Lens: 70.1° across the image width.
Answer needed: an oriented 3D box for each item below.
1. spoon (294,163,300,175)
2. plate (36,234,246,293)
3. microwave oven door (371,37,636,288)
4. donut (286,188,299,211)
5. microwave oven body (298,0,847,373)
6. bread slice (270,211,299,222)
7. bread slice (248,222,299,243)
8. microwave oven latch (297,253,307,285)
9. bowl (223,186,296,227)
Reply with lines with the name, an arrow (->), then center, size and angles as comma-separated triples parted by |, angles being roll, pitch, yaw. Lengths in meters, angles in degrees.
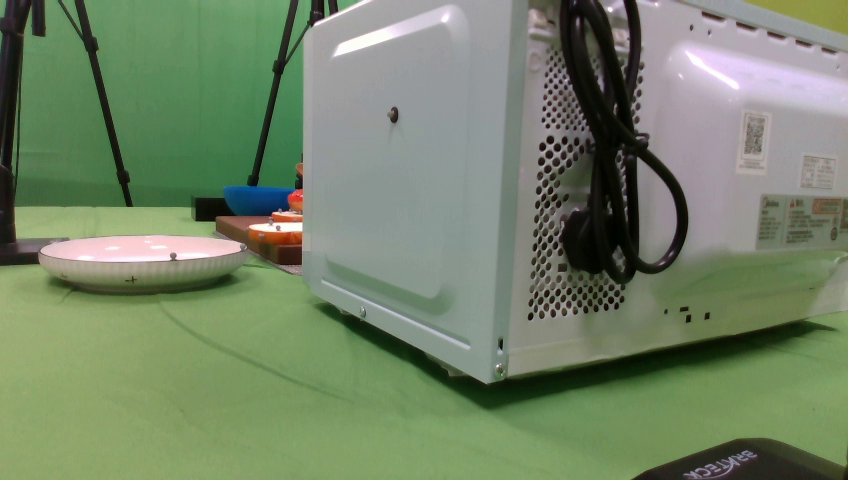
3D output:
spoon -> -0.174, -0.151, 1.157 | 0.041, 0.021, 0.194 | 42, 41, 15
plate -> -0.305, 0.026, 0.668 | 0.208, 0.039, 0.207 | 2, 7, 0
microwave oven door -> 0.109, -0.080, 0.687 | 0.358, 0.243, 0.039 | -2, 9, -33
donut -> -0.190, -0.068, 1.055 | 0.099, 0.048, 0.099 | 3, 7, 0
microwave oven body -> 0.151, -0.055, 0.542 | 0.444, 0.260, 0.324 | -2, 7, -33
bread slice -> -0.197, -0.038, 1.051 | 0.132, 0.019, 0.104 | -1, 7, -31
bread slice -> -0.174, -0.012, 0.844 | 0.135, 0.018, 0.106 | -6, 10, -44
microwave oven latch -> -0.082, 0.027, 0.582 | 0.079, 0.029, 0.030 | -1, 7, -32
bowl -> -0.330, -0.068, 1.230 | 0.151, 0.077, 0.151 | 3, 7, 0
